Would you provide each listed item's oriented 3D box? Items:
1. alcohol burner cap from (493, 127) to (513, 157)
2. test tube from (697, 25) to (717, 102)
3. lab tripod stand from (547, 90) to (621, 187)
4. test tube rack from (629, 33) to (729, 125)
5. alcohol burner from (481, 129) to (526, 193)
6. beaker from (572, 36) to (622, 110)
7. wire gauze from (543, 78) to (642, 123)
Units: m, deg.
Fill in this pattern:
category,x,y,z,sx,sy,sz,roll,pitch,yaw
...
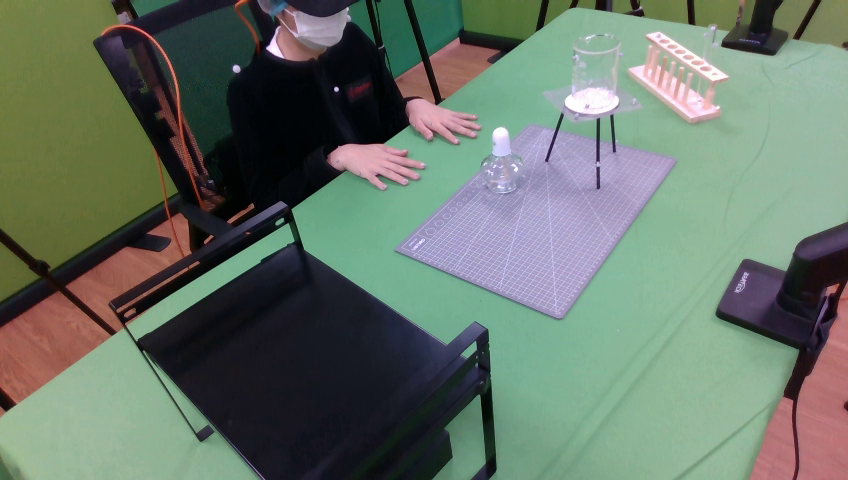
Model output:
category,x,y,z,sx,sy,sz,roll,pitch,yaw
alcohol burner cap,0.132,-0.169,1.030,0.034,0.048,0.033,-6,36,5
test tube,0.546,-0.337,1.166,0.017,0.151,0.017,-5,36,4
lab tripod stand,0.289,-0.184,1.062,0.148,0.132,0.147,-6,41,6
test tube rack,0.516,-0.337,1.247,0.067,0.085,0.240,-14,41,-7
alcohol burner,0.138,-0.142,1.052,0.078,0.119,0.077,-5,42,5
beaker,0.279,-0.273,0.992,0.074,0.101,0.083,-14,40,-5
wire gauze,0.282,-0.234,1.022,0.125,0.011,0.120,-17,38,-4
